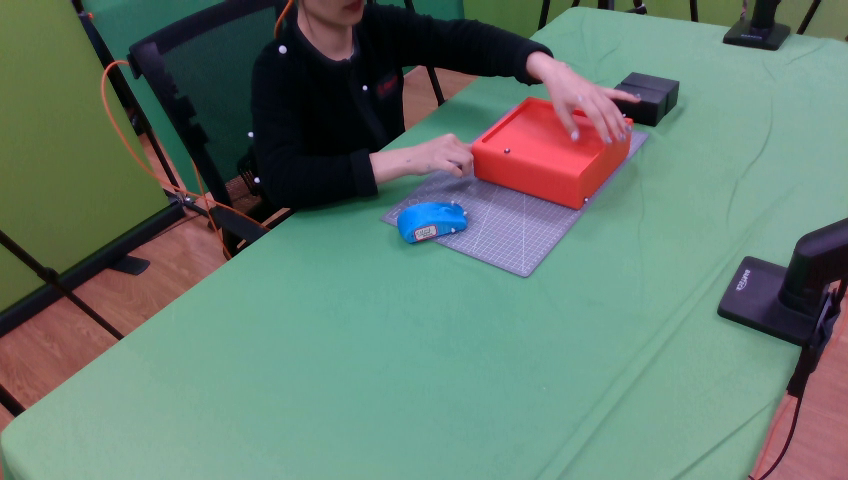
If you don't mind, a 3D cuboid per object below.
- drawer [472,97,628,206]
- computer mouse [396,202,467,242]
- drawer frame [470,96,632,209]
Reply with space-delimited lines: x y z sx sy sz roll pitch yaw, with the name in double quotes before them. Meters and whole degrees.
"drawer" 0.225 -0.163 1.083 0.210 0.073 0.195 23 49 32
"computer mouse" 0.012 -0.035 1.005 0.117 0.041 0.062 -11 38 -8
"drawer frame" 0.227 -0.164 1.081 0.212 0.083 0.202 23 49 31
